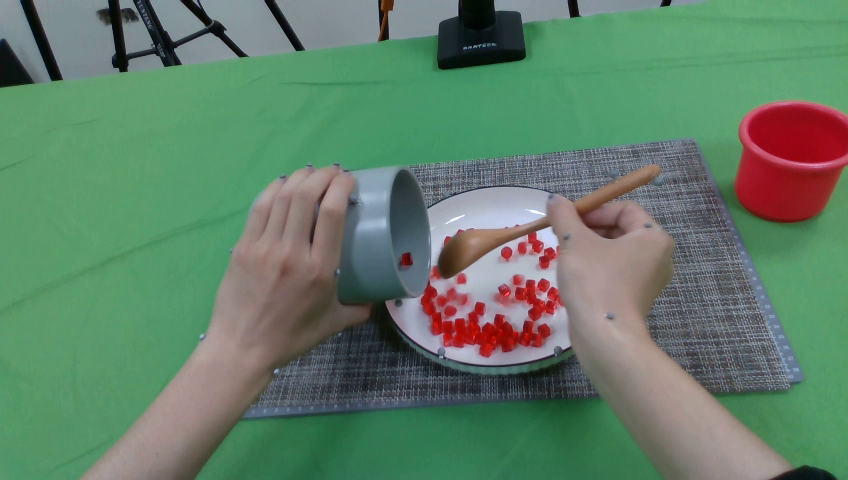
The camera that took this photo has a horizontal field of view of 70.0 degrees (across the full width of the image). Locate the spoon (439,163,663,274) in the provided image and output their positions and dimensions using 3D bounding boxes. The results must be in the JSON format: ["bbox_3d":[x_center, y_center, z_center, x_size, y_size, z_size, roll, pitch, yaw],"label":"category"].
[{"bbox_3d":[0.088,-0.017,0.463,0.193,0.022,0.041,-22,42,28],"label":"spoon"}]

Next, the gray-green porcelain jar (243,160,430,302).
[{"bbox_3d":[-0.070,-0.004,0.486,0.126,0.107,0.105,-5,46,16],"label":"gray-green porcelain jar"}]

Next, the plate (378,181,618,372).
[{"bbox_3d":[0.063,0.031,0.536,0.207,0.039,0.205,-6,46,6],"label":"plate"}]

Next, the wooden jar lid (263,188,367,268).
[{"bbox_3d":[-0.111,-0.012,0.623,0.108,0.021,0.107,-5,45,5],"label":"wooden jar lid"}]
